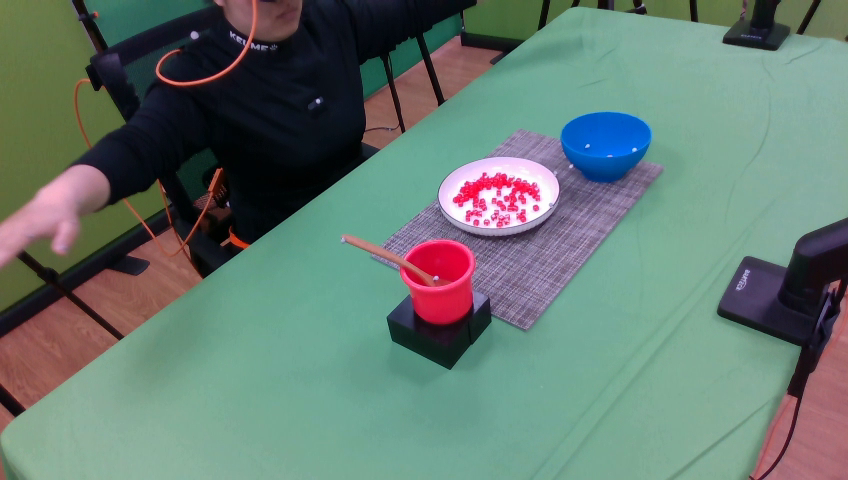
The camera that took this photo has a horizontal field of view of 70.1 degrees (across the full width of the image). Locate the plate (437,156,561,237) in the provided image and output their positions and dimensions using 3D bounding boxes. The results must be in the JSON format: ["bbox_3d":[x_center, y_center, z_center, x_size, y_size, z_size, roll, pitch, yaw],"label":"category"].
[{"bbox_3d":[0.127,-0.070,1.023,0.207,0.039,0.206,-5,40,5],"label":"plate"}]

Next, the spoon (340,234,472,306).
[{"bbox_3d":[-0.020,0.036,0.770,0.195,0.021,0.041,31,36,-21],"label":"spoon"}]

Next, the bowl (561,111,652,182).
[{"bbox_3d":[0.314,-0.153,1.054,0.151,0.077,0.150,-5,40,5],"label":"bowl"}]
